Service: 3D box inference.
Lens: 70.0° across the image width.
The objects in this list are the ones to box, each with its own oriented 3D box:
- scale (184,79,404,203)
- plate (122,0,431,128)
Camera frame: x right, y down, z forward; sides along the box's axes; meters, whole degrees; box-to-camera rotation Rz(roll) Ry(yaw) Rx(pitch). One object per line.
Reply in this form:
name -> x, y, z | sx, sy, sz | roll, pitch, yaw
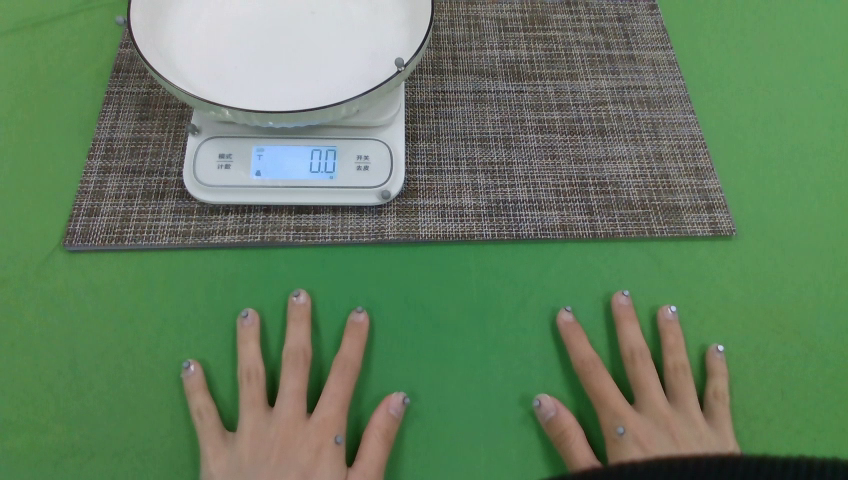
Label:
scale -> -0.090, -0.117, 0.447 | 0.149, 0.032, 0.199 | 0, 61, -3
plate -> -0.099, -0.157, 0.431 | 0.208, 0.039, 0.206 | 2, 60, -3
